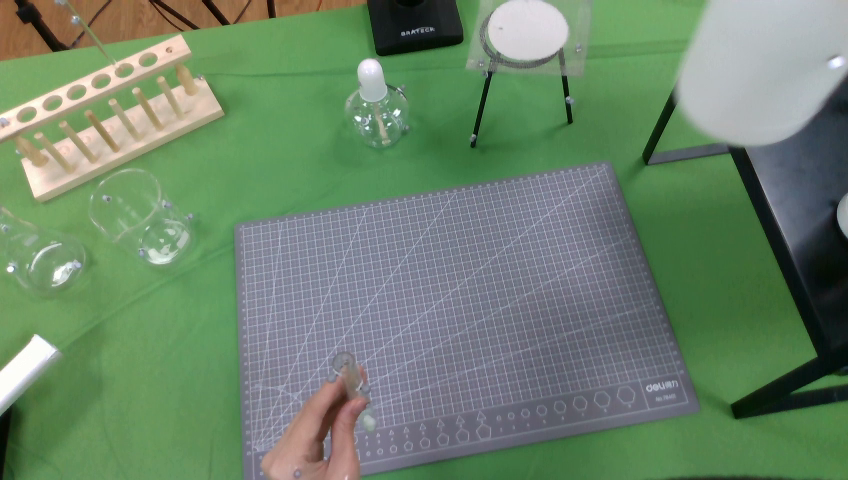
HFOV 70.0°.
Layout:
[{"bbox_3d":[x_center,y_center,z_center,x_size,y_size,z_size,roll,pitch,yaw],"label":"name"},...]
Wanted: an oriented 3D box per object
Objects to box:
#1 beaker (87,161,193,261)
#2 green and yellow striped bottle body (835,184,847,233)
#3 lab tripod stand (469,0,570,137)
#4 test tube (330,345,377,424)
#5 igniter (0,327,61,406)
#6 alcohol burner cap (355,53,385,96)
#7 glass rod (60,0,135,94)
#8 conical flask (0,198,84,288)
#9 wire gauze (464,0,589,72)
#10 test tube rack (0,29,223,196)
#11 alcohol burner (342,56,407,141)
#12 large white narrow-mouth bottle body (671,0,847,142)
[{"bbox_3d":[-0.303,-0.024,0.657,0.074,0.101,0.083,4,65,5],"label":"beaker"},{"bbox_3d":[0.357,-0.045,0.430,0.063,0.120,0.062,-1,64,2],"label":"green and yellow striped bottle body"},{"bbox_3d":[0.108,-0.200,0.704,0.148,0.132,0.147,0,63,1],"label":"lab tripod stand"},{"bbox_3d":[-0.051,0.116,0.465,0.017,0.151,0.017,-1,58,3],"label":"test tube"},{"bbox_3d":[-0.450,0.195,0.548,0.057,0.025,0.275,32,67,14],"label":"igniter"},{"bbox_3d":[-0.063,-0.188,0.676,0.034,0.048,0.033,-1,64,2],"label":"alcohol burner cap"},{"bbox_3d":[-0.365,-0.217,0.684,0.008,0.201,0.008,-4,59,8],"label":"glass rod"},{"bbox_3d":[-0.426,-0.004,0.639,0.075,0.123,0.074,-1,64,2],"label":"conical flask"},{"bbox_3d":[0.112,-0.232,0.644,0.121,0.011,0.124,10,66,5],"label":"wire gauze"},{"bbox_3d":[-0.379,-0.153,0.728,0.242,0.086,0.066,-29,67,-11],"label":"test tube rack"},{"bbox_3d":[-0.060,-0.171,0.709,0.078,0.120,0.077,0,63,1],"label":"alcohol burner"},{"bbox_3d":[0.236,-0.152,0.396,0.101,0.196,0.101,-2,68,7],"label":"large white narrow-mouth bottle body"}]
